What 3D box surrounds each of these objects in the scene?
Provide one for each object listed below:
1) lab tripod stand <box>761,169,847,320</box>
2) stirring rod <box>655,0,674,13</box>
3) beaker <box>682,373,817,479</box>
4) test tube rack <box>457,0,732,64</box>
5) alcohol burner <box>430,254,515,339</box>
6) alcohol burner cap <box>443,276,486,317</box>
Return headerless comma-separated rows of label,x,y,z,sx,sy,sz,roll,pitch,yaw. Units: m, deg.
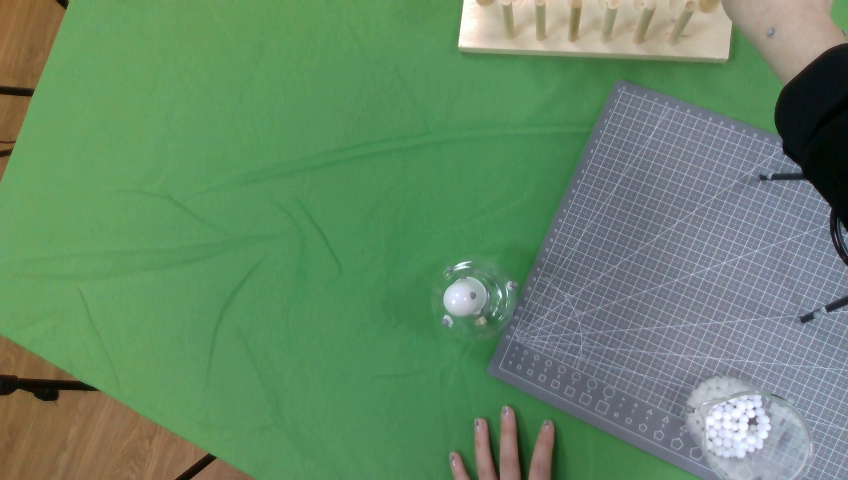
lab tripod stand,0.327,-0.006,0.452,0.148,0.132,0.148,0,89,12
stirring rod,0.203,-0.226,0.435,0.006,0.177,0.014,-31,74,-10
beaker,0.248,0.146,0.481,0.083,0.100,0.074,31,94,14
test tube rack,0.146,-0.206,0.530,0.241,0.085,0.066,6,89,13
alcohol burner,0.040,0.049,0.529,0.078,0.119,0.077,-1,85,11
alcohol burner cap,0.031,0.047,0.494,0.034,0.048,0.034,0,90,14
